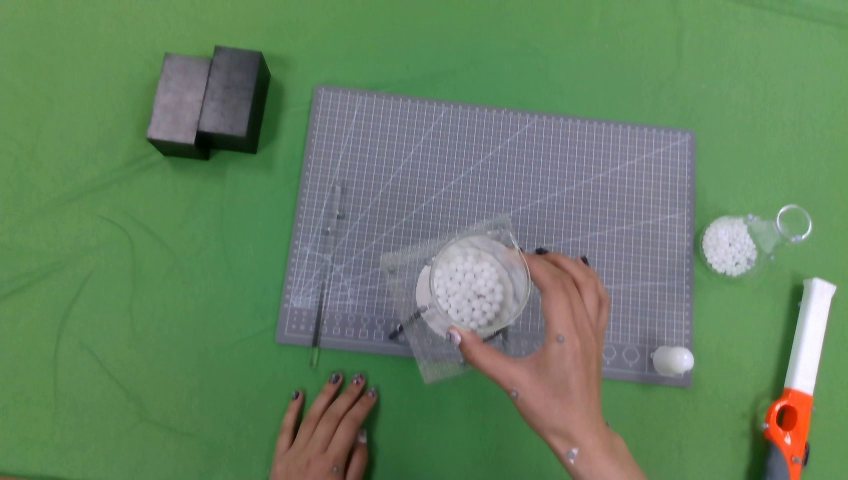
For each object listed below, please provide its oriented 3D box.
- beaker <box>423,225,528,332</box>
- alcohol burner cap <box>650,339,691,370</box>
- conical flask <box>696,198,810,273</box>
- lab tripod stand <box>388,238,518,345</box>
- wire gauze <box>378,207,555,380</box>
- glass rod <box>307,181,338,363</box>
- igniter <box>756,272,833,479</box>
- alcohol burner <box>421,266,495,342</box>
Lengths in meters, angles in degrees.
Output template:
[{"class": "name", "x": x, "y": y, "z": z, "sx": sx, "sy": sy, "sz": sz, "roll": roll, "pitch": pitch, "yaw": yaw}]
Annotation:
[{"class": "beaker", "x": 0.037, "y": 0.032, "z": 0.481, "sx": 0.074, "sy": 0.100, "sz": 0.084, "roll": 29, "pitch": 80, "yaw": 2}, {"class": "alcohol burner cap", "x": 0.264, "y": 0.121, "z": 0.643, "sx": 0.034, "sy": 0.048, "sz": 0.033, "roll": 1, "pitch": 79, "yaw": -3}, {"class": "conical flask", "x": 0.348, "y": -0.010, "z": 0.636, "sx": 0.075, "sy": 0.122, "sz": 0.075, "roll": 1, "pitch": 78, "yaw": -3}, {"class": "lab tripod stand", "x": 0.032, "y": 0.059, "z": 0.594, "sx": 0.148, "sy": 0.132, "sz": 0.148, "roll": 1, "pitch": 80, "yaw": -3}, {"class": "wire gauze", "x": 0.037, "y": 0.046, "z": 0.528, "sx": 0.125, "sy": 0.011, "sz": 0.121, "roll": -19, "pitch": 83, "yaw": -5}, {"class": "glass rod", "x": -0.109, "y": 0.032, "z": 0.654, "sx": 0.008, "sy": 0.008, "sz": 0.199, "roll": 7, "pitch": 81, "yaw": -2}, {"class": "igniter", "x": 0.397, "y": 0.167, "z": 0.652, "sx": 0.057, "sy": 0.025, "sz": 0.275, "roll": 22, "pitch": 78, "yaw": -9}, {"class": "alcohol burner", "x": 0.035, "y": 0.062, "z": 0.604, "sx": 0.078, "sy": 0.119, "sz": 0.077, "roll": 0, "pitch": 77, "yaw": -1}]
